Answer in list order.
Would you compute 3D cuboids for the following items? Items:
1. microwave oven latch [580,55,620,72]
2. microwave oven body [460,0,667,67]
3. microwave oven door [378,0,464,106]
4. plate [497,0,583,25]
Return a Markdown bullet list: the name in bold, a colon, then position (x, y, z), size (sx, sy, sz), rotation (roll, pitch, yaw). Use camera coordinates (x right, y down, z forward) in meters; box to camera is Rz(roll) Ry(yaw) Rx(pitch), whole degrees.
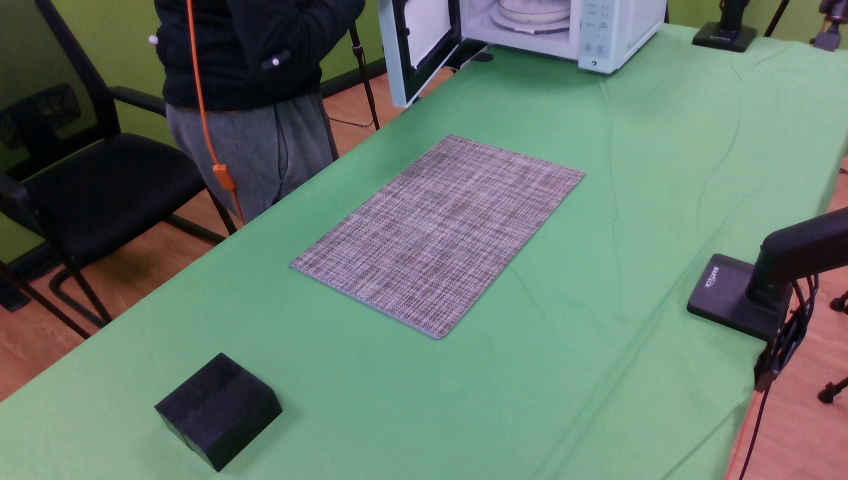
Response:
- **microwave oven latch**: position (0.386, -0.393, 1.330), size (0.078, 0.029, 0.030), rotation (25, 51, 32)
- **microwave oven body**: position (0.324, -0.609, 1.437), size (0.438, 0.261, 0.327), rotation (23, 50, 31)
- **microwave oven door**: position (0.004, -0.493, 1.343), size (0.039, 0.245, 0.356), rotation (11, 44, 21)
- **plate**: position (0.285, -0.574, 1.487), size (0.209, 0.038, 0.208), rotation (-5, 40, 4)
